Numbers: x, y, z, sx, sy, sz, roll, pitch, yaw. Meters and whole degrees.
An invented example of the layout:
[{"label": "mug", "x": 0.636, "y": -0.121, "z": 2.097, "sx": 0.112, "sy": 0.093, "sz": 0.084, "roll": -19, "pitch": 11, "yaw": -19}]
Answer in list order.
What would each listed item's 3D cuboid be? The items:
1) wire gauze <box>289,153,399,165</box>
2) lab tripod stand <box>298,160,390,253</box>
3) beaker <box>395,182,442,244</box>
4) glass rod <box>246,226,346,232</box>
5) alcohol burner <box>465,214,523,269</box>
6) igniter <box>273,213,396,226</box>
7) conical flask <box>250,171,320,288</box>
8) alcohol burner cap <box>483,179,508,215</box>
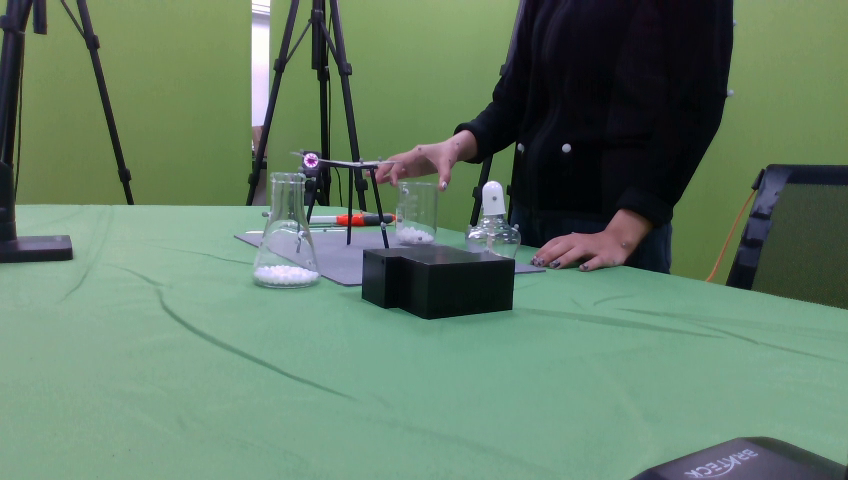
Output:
[{"label": "wire gauze", "x": -0.112, "y": -0.116, "z": 0.883, "sx": 0.124, "sy": 0.011, "sz": 0.122, "roll": 7, "pitch": 7, "yaw": 28}, {"label": "lab tripod stand", "x": -0.111, "y": -0.050, "z": 0.893, "sx": 0.148, "sy": 0.131, "sz": 0.148, "roll": 4, "pitch": 6, "yaw": 0}, {"label": "beaker", "x": -0.013, "y": -0.046, "z": 1.004, "sx": 0.083, "sy": 0.100, "sz": 0.074, "roll": 8, "pitch": 8, "yaw": 38}, {"label": "glass rod", "x": -0.236, "y": -0.021, "z": 1.140, "sx": 0.201, "sy": 0.008, "sz": 0.008, "roll": -3, "pitch": 8, "yaw": -33}, {"label": "alcohol burner", "x": 0.094, "y": -0.022, "z": 0.815, "sx": 0.078, "sy": 0.119, "sz": 0.078, "roll": 0, "pitch": 7, "yaw": 0}, {"label": "igniter", "x": -0.179, "y": -0.044, "z": 1.258, "sx": 0.278, "sy": 0.025, "sz": 0.057, "roll": -3, "pitch": -1, "yaw": -39}, {"label": "conical flask", "x": -0.150, "y": -0.013, "z": 0.658, "sx": 0.075, "sy": 0.122, "sz": 0.075, "roll": 2, "pitch": 7, "yaw": 0}, {"label": "alcohol burner cap", "x": 0.094, "y": -0.057, "z": 0.810, "sx": 0.034, "sy": 0.048, "sz": 0.034, "roll": -8, "pitch": 6, "yaw": 1}]
